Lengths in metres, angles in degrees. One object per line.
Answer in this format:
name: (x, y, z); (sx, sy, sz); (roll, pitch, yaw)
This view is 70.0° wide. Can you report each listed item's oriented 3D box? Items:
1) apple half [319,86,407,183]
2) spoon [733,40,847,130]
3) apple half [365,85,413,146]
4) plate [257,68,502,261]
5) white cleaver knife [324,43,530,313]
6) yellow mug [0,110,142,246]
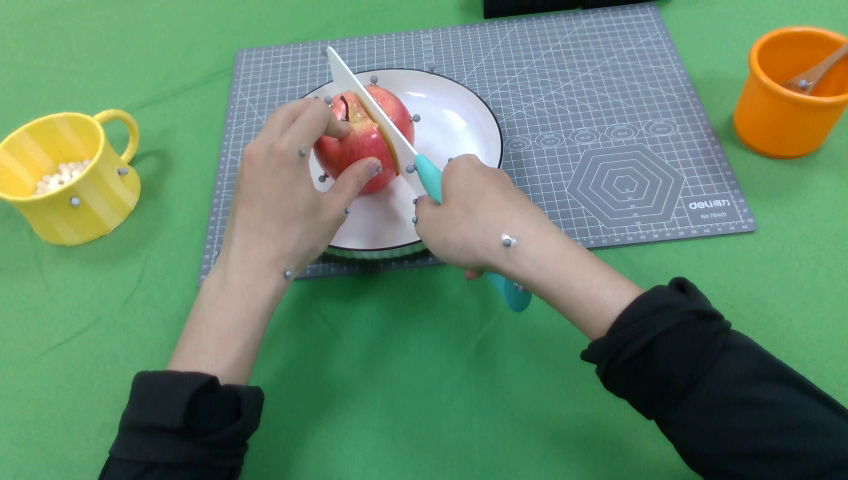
apple half: (-0.054, -0.079, 0.499); (0.053, 0.075, 0.080); (-47, 62, -8)
spoon: (0.340, -0.153, 0.481); (0.022, 0.194, 0.041); (21, 44, -34)
apple half: (-0.028, -0.095, 0.512); (0.033, 0.082, 0.080); (-29, 58, -16)
plate: (-0.037, -0.066, 0.525); (0.209, 0.038, 0.207); (-2, 56, 4)
white cleaver knife: (-0.008, -0.055, 0.466); (0.021, 0.066, 0.283); (-28, 60, -12)
yellow mug: (-0.304, -0.065, 0.537); (0.099, 0.064, 0.130); (24, 61, 20)
